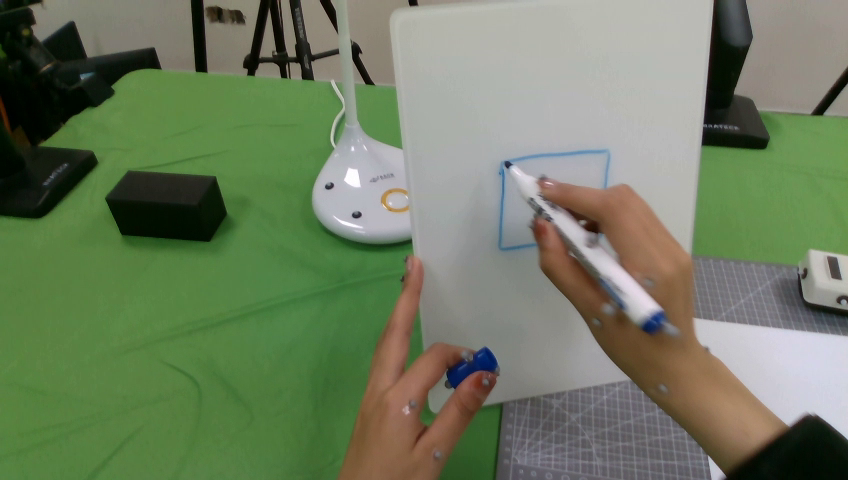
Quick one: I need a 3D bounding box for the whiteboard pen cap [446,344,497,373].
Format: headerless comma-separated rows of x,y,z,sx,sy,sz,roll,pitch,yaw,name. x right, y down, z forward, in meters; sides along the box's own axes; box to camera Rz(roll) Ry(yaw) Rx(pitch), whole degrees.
0.032,0.078,0.399,0.033,0.018,0.018,-2,33,41,whiteboard pen cap

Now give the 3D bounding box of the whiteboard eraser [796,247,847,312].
0.405,0.043,0.552,0.112,0.042,0.055,11,42,13,whiteboard eraser

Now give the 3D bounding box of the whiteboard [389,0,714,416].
0.088,-0.039,0.500,0.217,0.307,0.142,-8,23,-6,whiteboard

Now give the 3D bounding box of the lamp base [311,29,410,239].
-0.057,-0.119,0.643,0.161,0.182,0.177,-28,46,-27,lamp base

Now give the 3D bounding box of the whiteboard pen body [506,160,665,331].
0.087,-0.003,0.353,0.017,0.017,0.139,-21,55,-21,whiteboard pen body
